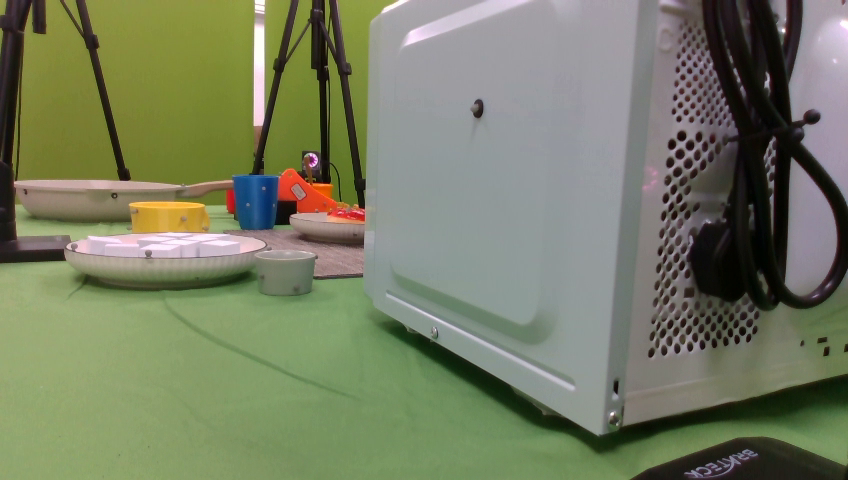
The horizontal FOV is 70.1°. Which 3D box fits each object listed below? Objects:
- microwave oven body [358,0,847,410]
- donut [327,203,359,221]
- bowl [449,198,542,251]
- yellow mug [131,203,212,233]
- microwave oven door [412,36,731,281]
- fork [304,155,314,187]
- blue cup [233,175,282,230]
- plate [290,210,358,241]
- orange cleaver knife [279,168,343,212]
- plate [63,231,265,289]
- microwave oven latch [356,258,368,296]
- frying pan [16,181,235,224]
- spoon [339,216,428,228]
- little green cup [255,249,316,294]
[{"bbox_3d":[0.210,-0.051,0.471,0.444,0.260,0.324,-1,7,-28],"label":"microwave oven body"},{"bbox_3d":[-0.120,-0.037,1.056,0.099,0.048,0.099,5,7,0],"label":"donut"},{"bbox_3d":[0.114,-0.026,0.988,0.151,0.077,0.151,2,8,0],"label":"bowl"},{"bbox_3d":[-0.356,-0.020,0.878,0.099,0.064,0.131,4,7,22],"label":"yellow mug"},{"bbox_3d":[0.167,-0.081,0.654,0.357,0.243,0.039,0,8,-15],"label":"microwave oven door"},{"bbox_3d":[-0.268,-0.134,1.447,0.028,0.018,0.207,2,-36,-1],"label":"fork"},{"bbox_3d":[-0.314,-0.071,1.141,0.093,0.100,0.092,0,7,0],"label":"blue cup"},{"bbox_3d":[-0.127,-0.025,1.051,0.209,0.038,0.209,2,7,0],"label":"plate"},{"bbox_3d":[-0.236,-0.084,1.333,0.212,0.077,0.012,31,-10,-32],"label":"orange cleaver knife"},{"bbox_3d":[-0.288,0.021,0.687,0.208,0.039,0.207,2,8,0],"label":"plate"},{"bbox_3d":[-0.019,0.031,0.528,0.079,0.029,0.030,-1,7,-25],"label":"microwave oven latch"},{"bbox_3d":[-0.554,-0.096,1.266,0.490,0.102,0.305,-10,13,-24],"label":"frying pan"},{"bbox_3d":[-0.087,-0.041,1.268,0.193,0.021,0.041,4,25,13],"label":"spoon"},{"bbox_3d":[-0.144,0.032,0.626,0.061,0.038,0.061,4,7,0],"label":"little green cup"}]
